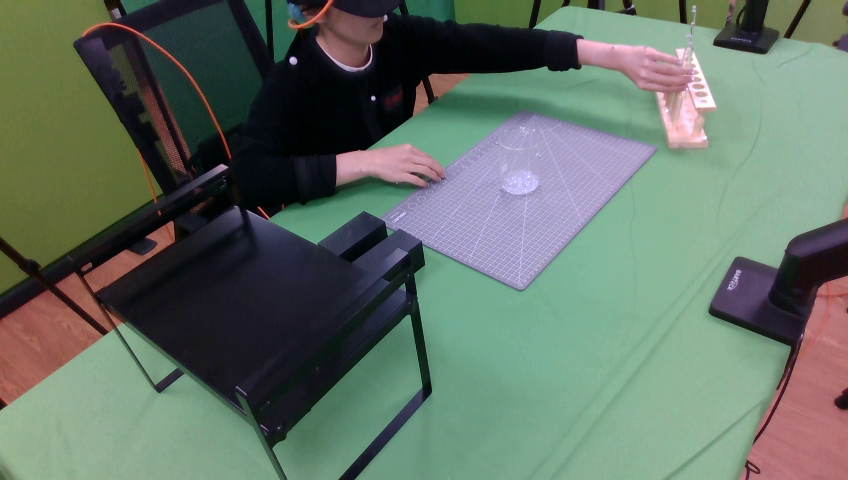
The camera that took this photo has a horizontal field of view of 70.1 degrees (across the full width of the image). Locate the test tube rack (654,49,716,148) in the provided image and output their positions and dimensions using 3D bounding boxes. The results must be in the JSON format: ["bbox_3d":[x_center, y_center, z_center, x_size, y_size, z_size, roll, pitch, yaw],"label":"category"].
[{"bbox_3d":[0.502,-0.281,1.176,0.066,0.085,0.241,2,41,11],"label":"test tube rack"}]

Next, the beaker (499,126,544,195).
[{"bbox_3d":[0.170,-0.136,1.045,0.073,0.101,0.084,12,44,21],"label":"beaker"}]

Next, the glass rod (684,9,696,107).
[{"bbox_3d":[0.501,-0.337,1.140,0.008,0.201,0.008,-8,41,8],"label":"glass rod"}]

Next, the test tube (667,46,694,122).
[{"bbox_3d":[0.474,-0.286,1.118,0.017,0.151,0.017,-2,42,2],"label":"test tube"}]
